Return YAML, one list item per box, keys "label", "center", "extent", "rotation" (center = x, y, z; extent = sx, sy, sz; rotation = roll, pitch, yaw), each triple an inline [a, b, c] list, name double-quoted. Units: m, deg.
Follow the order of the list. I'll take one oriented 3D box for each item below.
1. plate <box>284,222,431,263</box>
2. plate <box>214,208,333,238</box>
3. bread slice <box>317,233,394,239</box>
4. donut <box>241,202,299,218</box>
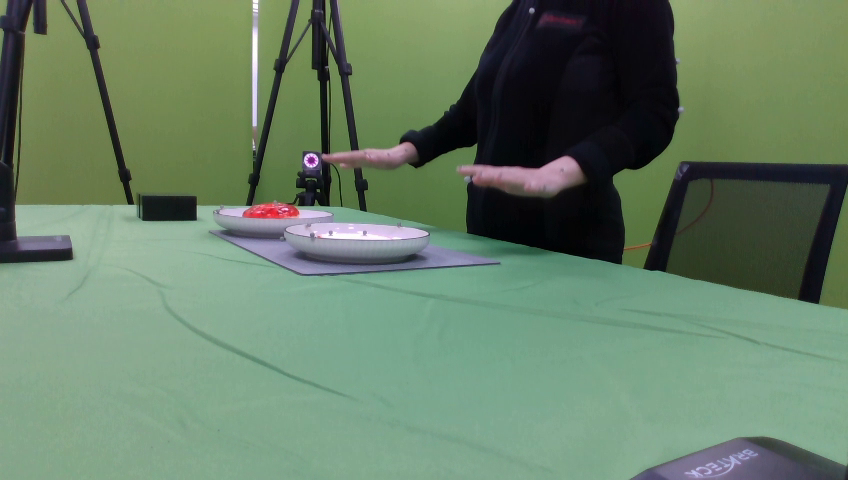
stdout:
- label: "plate"
  center: [-0.094, 0.003, 0.868]
  extent: [0.209, 0.038, 0.209]
  rotation: [2, 7, 0]
- label: "plate"
  center: [-0.268, -0.032, 1.085]
  extent: [0.208, 0.039, 0.207]
  rotation: [2, 7, 0]
- label: "bread slice"
  center: [-0.096, 0.004, 0.863]
  extent: [0.107, 0.018, 0.133]
  rotation: [-1, 7, -31]
- label: "donut"
  center: [-0.269, -0.040, 1.057]
  extent: [0.099, 0.048, 0.099]
  rotation: [0, 11, 0]
